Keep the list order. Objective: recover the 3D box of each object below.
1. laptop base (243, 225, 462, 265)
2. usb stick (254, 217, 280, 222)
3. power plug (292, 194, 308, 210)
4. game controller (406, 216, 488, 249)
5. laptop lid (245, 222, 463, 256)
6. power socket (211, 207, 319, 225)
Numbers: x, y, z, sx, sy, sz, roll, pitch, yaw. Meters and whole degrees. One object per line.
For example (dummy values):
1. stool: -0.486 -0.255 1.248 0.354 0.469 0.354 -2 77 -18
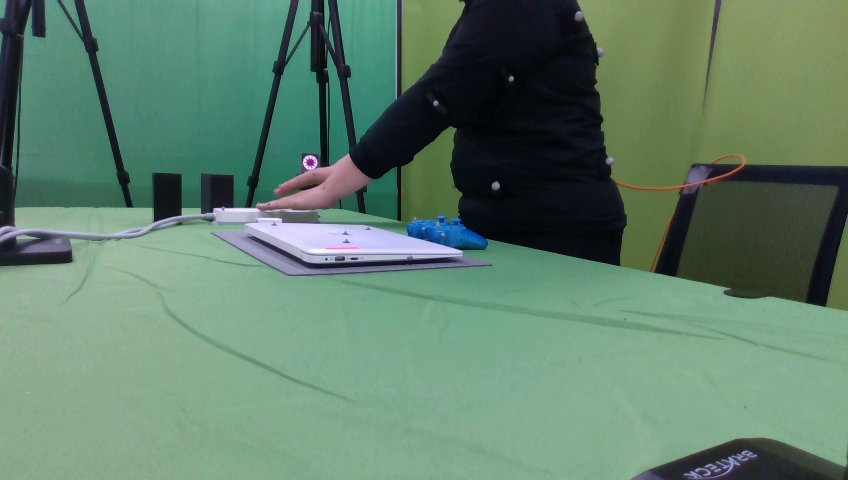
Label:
1. laptop base: -0.128 0.007 0.951 0.237 0.023 0.352 2 6 -30
2. usb stick: -0.296 -0.028 1.114 0.059 0.027 0.021 -4 12 -30
3. power plug: -0.272 -0.076 1.341 0.035 0.052 0.072 -9 2 0
4. game controller: 0.035 -0.014 1.067 0.097 0.051 0.154 -7 11 -29
5. laptop lid: -0.126 -0.005 0.951 0.243 0.013 0.355 1 7 -28
6. power socket: -0.333 -0.051 1.280 0.228 0.032 0.072 -1 9 -28
